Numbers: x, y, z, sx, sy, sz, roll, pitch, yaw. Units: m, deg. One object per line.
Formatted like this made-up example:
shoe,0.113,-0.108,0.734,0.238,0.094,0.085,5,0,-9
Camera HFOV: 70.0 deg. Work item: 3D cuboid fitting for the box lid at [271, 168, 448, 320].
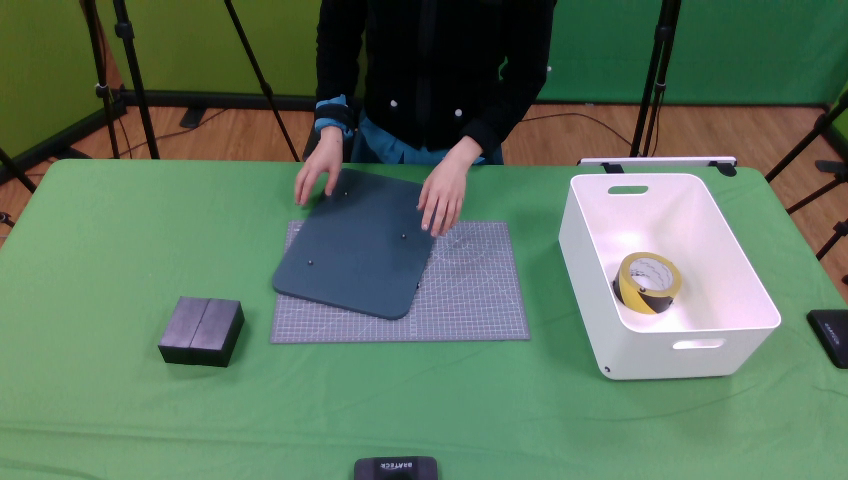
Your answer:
box lid,-0.115,-0.007,1.200,0.263,0.015,0.369,12,46,8

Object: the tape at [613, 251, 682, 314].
tape,0.413,0.077,1.123,0.117,0.053,0.116,2,45,-2

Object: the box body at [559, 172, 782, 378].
box body,0.405,0.057,1.074,0.254,0.161,0.361,-2,46,-5
